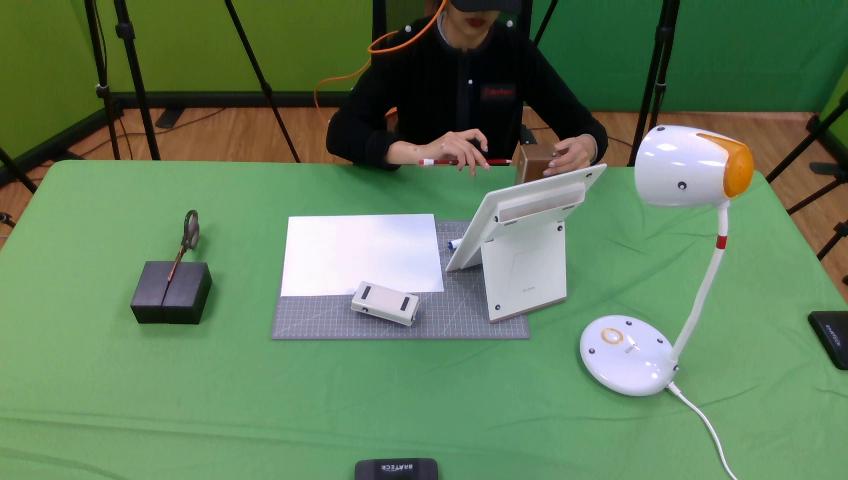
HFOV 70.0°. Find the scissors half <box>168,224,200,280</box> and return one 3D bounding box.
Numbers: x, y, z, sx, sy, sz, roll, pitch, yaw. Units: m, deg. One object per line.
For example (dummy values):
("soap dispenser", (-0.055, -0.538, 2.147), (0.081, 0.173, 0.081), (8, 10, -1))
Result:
("scissors half", (-0.440, 0.023, 1.111), (0.013, 0.040, 0.174), (7, 29, -6))

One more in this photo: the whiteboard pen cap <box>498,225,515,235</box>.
("whiteboard pen cap", (0.166, -0.019, 1.223), (0.033, 0.018, 0.018), (-14, 49, -18))

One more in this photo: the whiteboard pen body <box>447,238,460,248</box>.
("whiteboard pen body", (0.112, -0.005, 1.203), (0.141, 0.017, 0.017), (-14, 49, -18))

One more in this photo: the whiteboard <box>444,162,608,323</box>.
("whiteboard", (0.186, 0.025, 1.029), (0.217, 0.306, 0.143), (-14, 68, -18))

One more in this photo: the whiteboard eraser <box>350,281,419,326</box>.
("whiteboard eraser", (-0.069, 0.113, 1.065), (0.112, 0.042, 0.055), (14, 46, 9))

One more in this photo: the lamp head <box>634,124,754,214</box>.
("lamp head", (0.351, -0.089, 0.775), (0.112, 0.113, 0.122), (-30, 30, -28))

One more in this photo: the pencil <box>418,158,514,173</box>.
("pencil", (0.084, -0.144, 1.188), (0.194, 0.012, 0.012), (6, 46, -9))

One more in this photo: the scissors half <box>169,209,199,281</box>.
("scissors half", (-0.438, 0.007, 1.098), (0.013, 0.040, 0.174), (3, 48, -3))

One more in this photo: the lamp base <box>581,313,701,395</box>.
("lamp base", (0.361, 0.144, 0.972), (0.178, 0.181, 0.160), (34, 53, 23))

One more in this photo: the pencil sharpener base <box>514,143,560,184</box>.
("pencil sharpener base", (0.229, -0.138, 1.228), (0.077, 0.107, 0.061), (-1, 39, -5))

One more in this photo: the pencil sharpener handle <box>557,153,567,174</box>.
("pencil sharpener handle", (0.280, -0.152, 1.228), (0.031, 0.068, 0.036), (-1, 55, -5))
